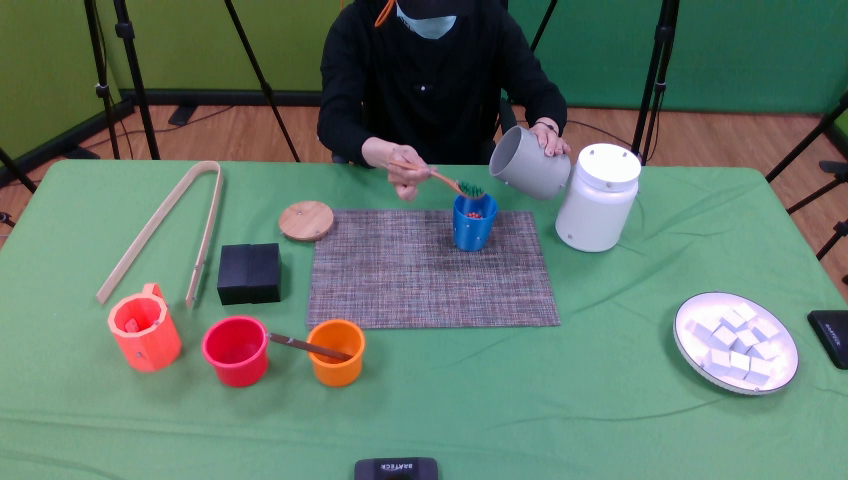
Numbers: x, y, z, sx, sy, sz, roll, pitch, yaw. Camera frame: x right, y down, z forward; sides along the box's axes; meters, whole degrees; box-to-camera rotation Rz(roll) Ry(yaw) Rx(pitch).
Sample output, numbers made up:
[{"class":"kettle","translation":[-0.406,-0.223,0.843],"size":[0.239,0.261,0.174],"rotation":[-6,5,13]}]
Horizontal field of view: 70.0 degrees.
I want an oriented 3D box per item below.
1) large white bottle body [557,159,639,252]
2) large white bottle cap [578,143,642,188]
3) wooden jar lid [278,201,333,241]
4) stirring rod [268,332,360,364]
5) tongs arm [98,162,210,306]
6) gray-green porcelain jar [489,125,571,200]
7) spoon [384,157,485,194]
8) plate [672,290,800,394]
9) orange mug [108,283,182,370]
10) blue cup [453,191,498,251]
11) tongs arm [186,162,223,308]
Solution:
[{"class":"large white bottle body","translation":[0.340,-0.081,1.184],"size":[0.131,0.185,0.130],"rotation":[2,46,-1]},{"class":"large white bottle cap","translation":[0.344,-0.139,1.123],"size":[0.115,0.018,0.114],"rotation":[2,46,-2]},{"class":"wooden jar lid","translation":[-0.236,-0.036,1.213],"size":[0.108,0.021,0.107],"rotation":[0,47,0]},{"class":"stirring rod","translation":[-0.167,0.169,0.942],"size":[0.177,0.006,0.014],"rotation":[26,26,-41]},{"class":"tongs arm","translation":[-0.519,-0.026,1.185],"size":[0.028,0.028,0.385],"rotation":[4,46,13]},{"class":"gray-green porcelain jar","translation":[0.204,-0.142,1.144],"size":[0.127,0.106,0.105],"rotation":[26,43,-19]},{"class":"spoon","translation":[0.020,-0.120,1.101],"size":[0.194,0.022,0.041],"rotation":[19,38,-15]},{"class":"plate","translation":[0.533,0.178,1.050],"size":[0.208,0.039,0.206],"rotation":[2,46,-2]},{"class":"orange mug","translation":[-0.445,0.133,0.982],"size":[0.083,0.101,0.125],"rotation":[-1,50,-5]},{"class":"blue cup","translation":[0.093,-0.032,1.173],"size":[0.093,0.101,0.092],"rotation":[3,45,-3]},{"class":"tongs arm","translation":[-0.435,-0.025,1.180],"size":[0.051,0.027,0.382],"rotation":[-4,46,1]}]
